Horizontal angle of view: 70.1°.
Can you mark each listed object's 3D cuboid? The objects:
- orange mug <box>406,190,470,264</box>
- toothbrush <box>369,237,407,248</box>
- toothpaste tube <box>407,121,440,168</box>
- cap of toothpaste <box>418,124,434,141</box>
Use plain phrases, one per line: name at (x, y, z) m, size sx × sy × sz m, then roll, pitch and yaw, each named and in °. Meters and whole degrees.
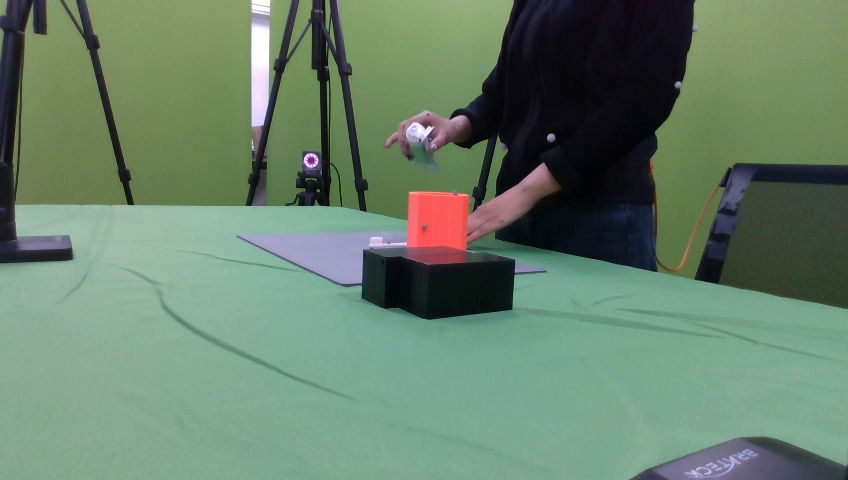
orange mug at (0.027, -0.023, 0.866) m, size 0.083 × 0.101 × 0.126 m, roll 6°, pitch 12°, yaw 24°
toothbrush at (-0.008, 0.003, 0.977) m, size 0.183 × 0.016 × 0.014 m, roll 0°, pitch 1°, yaw -34°
toothpaste tube at (-0.004, -0.169, 1.100) m, size 0.055 × 0.034 × 0.165 m, roll 18°, pitch -13°, yaw 11°
cap of toothpaste at (0.002, -0.181, 1.010) m, size 0.011 × 0.037 × 0.037 m, roll 44°, pitch 5°, yaw -5°
